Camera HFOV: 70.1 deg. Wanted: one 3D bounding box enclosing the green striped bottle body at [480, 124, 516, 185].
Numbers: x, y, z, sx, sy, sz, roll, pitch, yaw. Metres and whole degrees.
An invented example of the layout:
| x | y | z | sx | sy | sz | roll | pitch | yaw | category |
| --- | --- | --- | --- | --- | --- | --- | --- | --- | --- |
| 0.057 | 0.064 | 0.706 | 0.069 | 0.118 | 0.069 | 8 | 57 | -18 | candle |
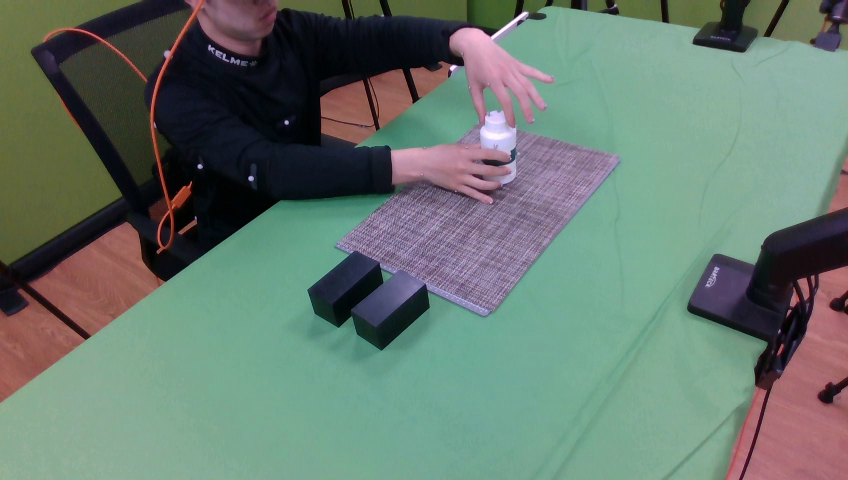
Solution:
| x | y | z | sx | sy | sz | roll | pitch | yaw | category |
| --- | --- | --- | --- | --- | --- | --- | --- | --- | --- |
| 0.130 | -0.161 | 1.057 | 0.063 | 0.120 | 0.063 | -4 | 40 | 4 | green striped bottle body |

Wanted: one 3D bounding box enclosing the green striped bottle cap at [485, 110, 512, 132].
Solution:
| x | y | z | sx | sy | sz | roll | pitch | yaw | category |
| --- | --- | --- | --- | --- | --- | --- | --- | --- | --- |
| 0.126 | -0.201 | 1.023 | 0.044 | 0.020 | 0.044 | -5 | 41 | 5 | green striped bottle cap |
